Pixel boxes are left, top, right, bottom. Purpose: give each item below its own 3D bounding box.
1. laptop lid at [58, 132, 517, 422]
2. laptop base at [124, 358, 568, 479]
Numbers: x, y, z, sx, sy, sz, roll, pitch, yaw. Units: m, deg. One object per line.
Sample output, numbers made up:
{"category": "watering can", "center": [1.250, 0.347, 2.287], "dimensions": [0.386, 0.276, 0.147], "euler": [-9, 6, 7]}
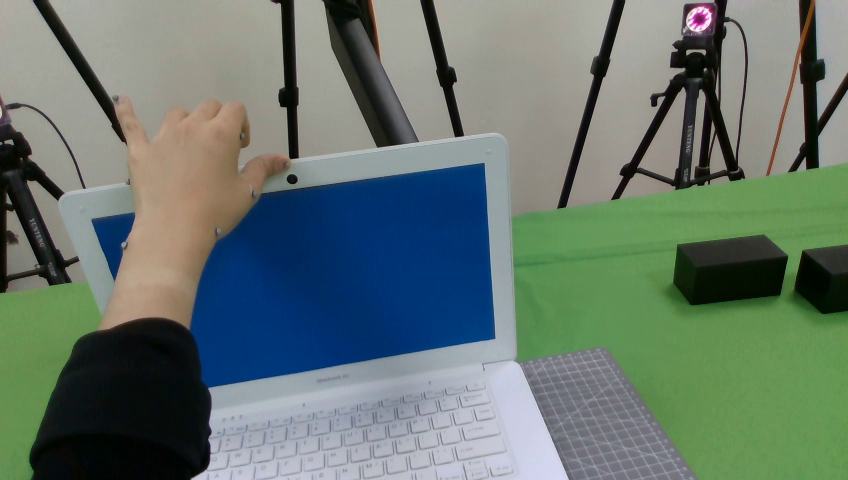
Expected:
{"category": "laptop lid", "center": [-0.095, 0.042, 0.525], "dimensions": [0.357, 0.243, 0.013], "euler": [-10, 27, -4]}
{"category": "laptop base", "center": [-0.066, 0.202, 0.475], "dimensions": [0.355, 0.023, 0.233], "euler": [-9, 32, -5]}
